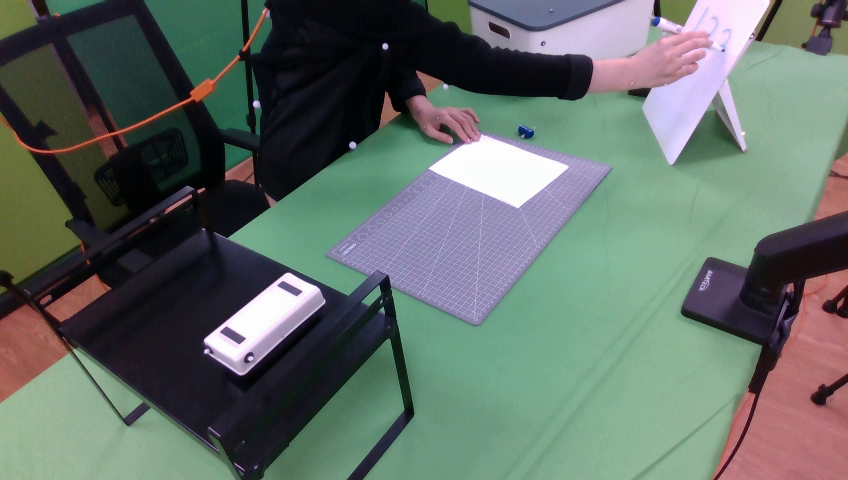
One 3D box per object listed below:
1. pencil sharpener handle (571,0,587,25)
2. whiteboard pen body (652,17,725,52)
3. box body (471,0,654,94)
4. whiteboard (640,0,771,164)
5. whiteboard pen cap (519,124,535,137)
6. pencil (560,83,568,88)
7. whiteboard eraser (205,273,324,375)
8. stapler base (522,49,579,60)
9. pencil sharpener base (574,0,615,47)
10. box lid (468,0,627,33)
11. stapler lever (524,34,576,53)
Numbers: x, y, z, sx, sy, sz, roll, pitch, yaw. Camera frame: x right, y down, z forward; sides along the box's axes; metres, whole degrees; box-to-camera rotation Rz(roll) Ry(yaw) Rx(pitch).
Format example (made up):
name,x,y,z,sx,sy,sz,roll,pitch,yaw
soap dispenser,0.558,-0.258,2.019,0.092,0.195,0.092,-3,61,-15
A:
name,x,y,z,sx,sy,sz,roll,pitch,yaw
pencil sharpener handle,0.378,-0.568,1.493,0.036,0.068,0.030,-32,45,-26
whiteboard pen body,0.423,-0.324,0.961,0.141,0.017,0.017,15,38,-16
box body,0.319,-0.498,1.405,0.365,0.161,0.252,-26,43,-21
whiteboard,0.543,-0.299,1.076,0.144,0.305,0.216,12,40,-7
whiteboard pen cap,0.206,-0.218,1.204,0.018,0.018,0.033,-27,44,-22
pencil,0.248,-0.393,1.398,0.193,0.012,0.012,32,53,24
whiteboard eraser,-0.157,0.084,0.605,0.055,0.042,0.113,24,49,30
stapler base,0.300,-0.441,1.434,0.130,0.024,0.041,3,23,18
pencil sharpener base,0.411,-0.536,1.469,0.061,0.107,0.076,-31,45,-26
box lid,0.312,-0.554,1.358,0.373,0.015,0.261,-26,44,-20
stapler lever,0.297,-0.462,1.424,0.117,0.040,0.027,5,24,17
